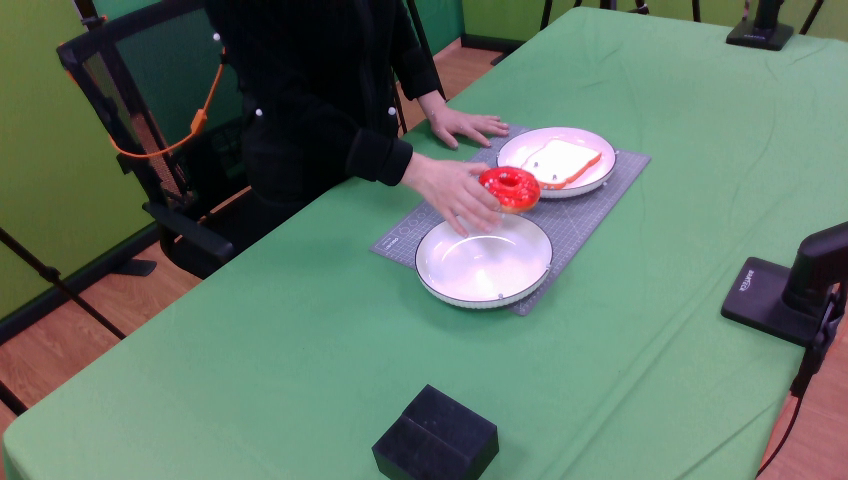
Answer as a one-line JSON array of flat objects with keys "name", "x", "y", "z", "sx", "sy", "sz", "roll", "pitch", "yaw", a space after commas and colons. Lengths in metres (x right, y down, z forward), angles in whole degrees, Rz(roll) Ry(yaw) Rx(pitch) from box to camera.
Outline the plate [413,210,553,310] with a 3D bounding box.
[{"name": "plate", "x": 0.089, "y": 0.033, "z": 0.914, "sx": 0.207, "sy": 0.039, "sz": 0.206, "roll": -5, "pitch": 40, "yaw": 5}]

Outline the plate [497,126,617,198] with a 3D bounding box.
[{"name": "plate", "x": 0.236, "y": -0.136, "z": 1.085, "sx": 0.209, "sy": 0.038, "sz": 0.208, "roll": -5, "pitch": 40, "yaw": 5}]

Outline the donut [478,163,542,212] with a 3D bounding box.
[{"name": "donut", "x": 0.130, "y": -0.079, "z": 0.917, "sx": 0.099, "sy": 0.048, "sz": 0.098, "roll": 3, "pitch": 40, "yaw": -2}]

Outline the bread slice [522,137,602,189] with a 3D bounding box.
[{"name": "bread slice", "x": 0.242, "y": -0.136, "z": 1.085, "sx": 0.106, "sy": 0.018, "sz": 0.134, "roll": 23, "pitch": 50, "yaw": 35}]
